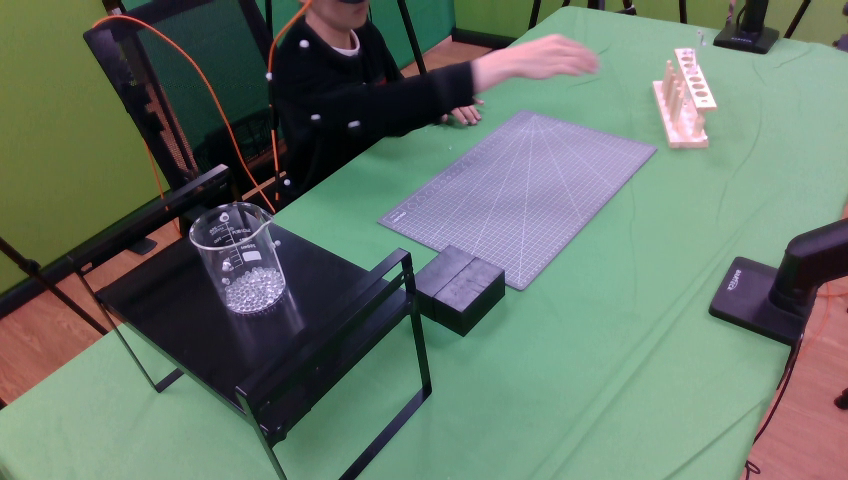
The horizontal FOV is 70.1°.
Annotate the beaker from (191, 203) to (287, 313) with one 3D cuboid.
[{"bbox_3d":[-0.189,0.021,0.642,0.084,0.101,0.073,-16,41,-11],"label":"beaker"}]

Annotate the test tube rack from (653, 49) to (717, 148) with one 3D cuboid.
[{"bbox_3d":[0.502,-0.281,1.177,0.066,0.085,0.241,1,41,11],"label":"test tube rack"}]

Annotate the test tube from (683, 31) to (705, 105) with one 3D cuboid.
[{"bbox_3d":[0.512,-0.324,1.149,0.017,0.151,0.017,-5,44,5],"label":"test tube"}]
